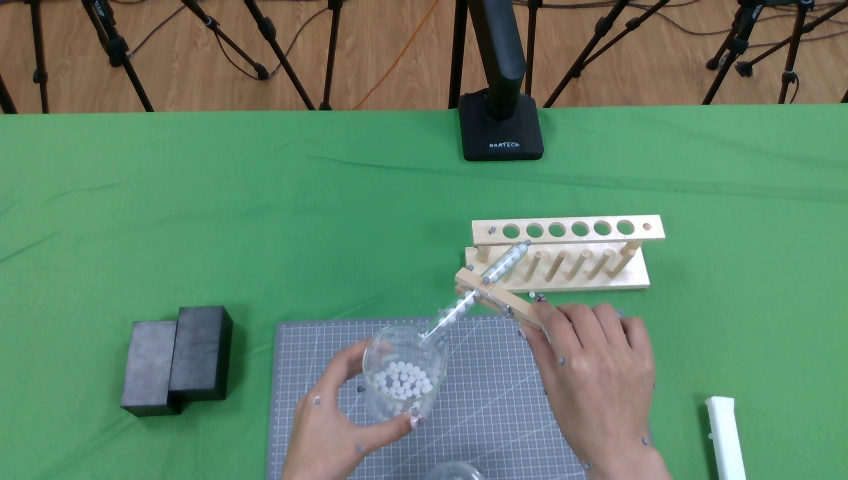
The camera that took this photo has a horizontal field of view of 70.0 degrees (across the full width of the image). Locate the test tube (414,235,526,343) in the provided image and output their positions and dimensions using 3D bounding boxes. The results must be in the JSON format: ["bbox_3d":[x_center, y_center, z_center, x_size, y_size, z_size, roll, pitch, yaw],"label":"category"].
[{"bbox_3d":[0.045,0.040,0.544,0.017,0.017,0.150,40,59,16],"label":"test tube"}]

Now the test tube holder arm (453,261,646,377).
[{"bbox_3d":[0.102,0.065,0.516,0.177,0.013,0.015,28,54,22],"label":"test tube holder arm"}]

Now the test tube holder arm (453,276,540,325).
[{"bbox_3d":[0.066,0.051,0.538,0.087,0.010,0.015,24,52,27],"label":"test tube holder arm"}]

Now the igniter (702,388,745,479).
[{"bbox_3d":[0.350,0.306,0.680,0.057,0.025,0.274,9,62,-10],"label":"igniter"}]

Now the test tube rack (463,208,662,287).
[{"bbox_3d":[0.178,0.012,0.788,0.243,0.086,0.066,-2,63,-4],"label":"test tube rack"}]

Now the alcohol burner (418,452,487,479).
[{"bbox_3d":[0.032,0.259,0.633,0.078,0.120,0.077,2,61,-3],"label":"alcohol burner"}]

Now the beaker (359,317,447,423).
[{"bbox_3d":[-0.020,0.124,0.567,0.084,0.101,0.073,-27,65,-21],"label":"beaker"}]
